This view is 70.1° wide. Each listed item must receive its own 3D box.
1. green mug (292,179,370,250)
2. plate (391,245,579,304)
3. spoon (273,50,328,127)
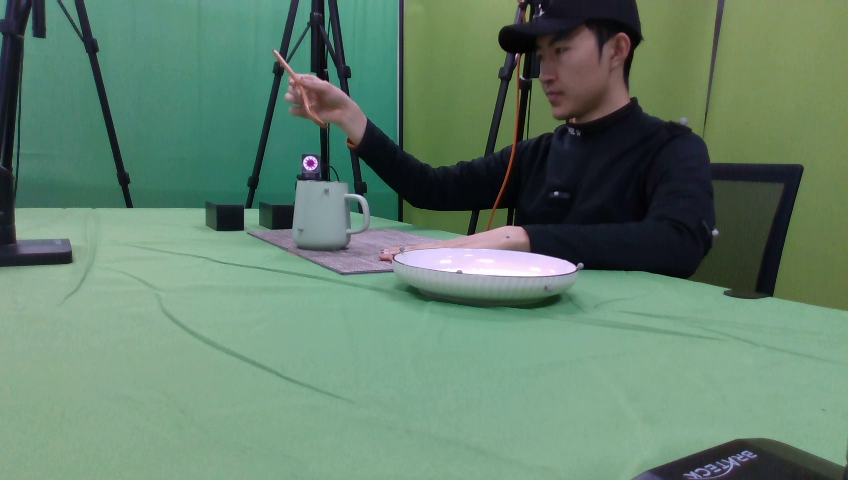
[{"bbox_3d":[-0.144,-0.040,0.944,0.125,0.105,0.093,4,7,16],"label":"green mug"},{"bbox_3d":[0.066,0.038,0.683,0.209,0.038,0.209,2,7,0],"label":"plate"},{"bbox_3d":[-0.238,-0.291,1.158,0.021,0.193,0.042,-33,-12,12],"label":"spoon"}]
